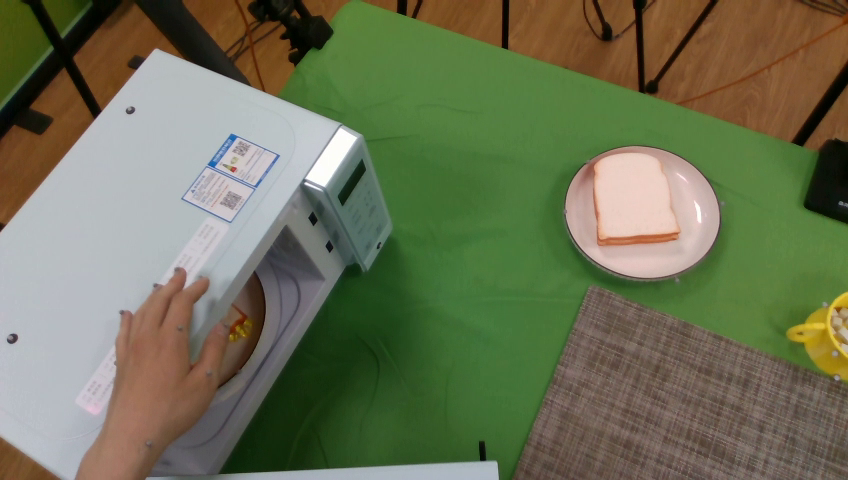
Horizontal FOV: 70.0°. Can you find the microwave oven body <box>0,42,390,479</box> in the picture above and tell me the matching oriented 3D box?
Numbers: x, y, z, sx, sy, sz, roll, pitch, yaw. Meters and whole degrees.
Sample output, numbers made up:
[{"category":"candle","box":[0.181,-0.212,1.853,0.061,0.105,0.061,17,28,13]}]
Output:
[{"category":"microwave oven body","box":[-0.296,0.040,0.745,0.324,0.262,0.440,24,72,15]}]

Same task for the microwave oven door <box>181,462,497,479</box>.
[{"category":"microwave oven door","box":[-0.101,0.256,0.624,0.356,0.246,0.039,-5,65,4]}]

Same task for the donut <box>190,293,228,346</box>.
[{"category":"donut","box":[-0.293,0.086,0.750,0.099,0.048,0.098,3,61,-5]}]

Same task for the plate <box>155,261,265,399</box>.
[{"category":"plate","box":[-0.302,0.098,0.772,0.209,0.038,0.207,-1,69,4]}]

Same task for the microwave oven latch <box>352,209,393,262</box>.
[{"category":"microwave oven latch","box":[-0.074,-0.010,0.849,0.030,0.030,0.079,28,73,16]}]

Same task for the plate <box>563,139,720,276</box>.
[{"category":"plate","box":[0.299,-0.044,0.847,0.207,0.039,0.206,-2,66,5]}]

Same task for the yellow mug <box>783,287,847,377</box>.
[{"category":"yellow mug","box":[0.513,0.112,0.741,0.130,0.064,0.099,2,66,8]}]

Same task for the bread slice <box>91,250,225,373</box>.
[{"category":"bread slice","box":[-0.309,0.075,0.724,0.106,0.018,0.134,34,66,10]}]

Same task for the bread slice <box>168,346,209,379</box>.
[{"category":"bread slice","box":[-0.302,0.123,0.791,0.104,0.019,0.131,37,47,22]}]
